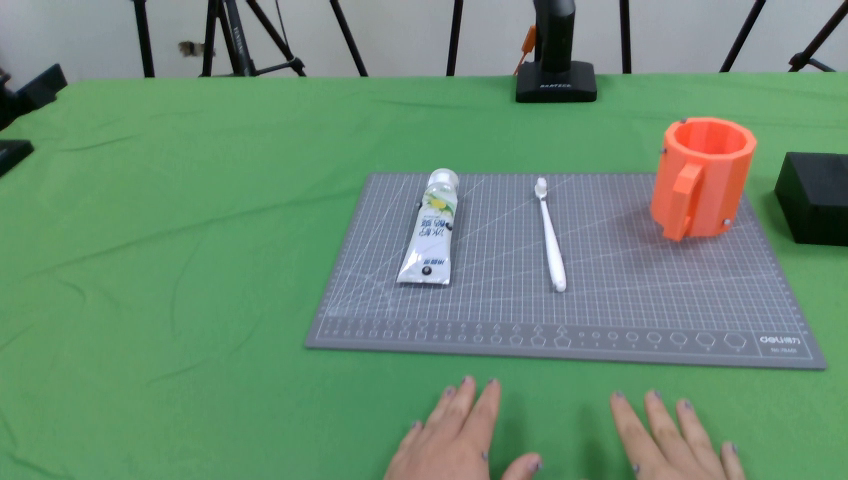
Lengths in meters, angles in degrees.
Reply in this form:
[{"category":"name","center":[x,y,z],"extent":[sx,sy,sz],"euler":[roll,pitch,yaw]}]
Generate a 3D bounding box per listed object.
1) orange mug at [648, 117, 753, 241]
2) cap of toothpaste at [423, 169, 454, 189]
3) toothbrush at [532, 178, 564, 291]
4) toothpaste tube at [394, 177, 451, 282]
[{"category":"orange mug","center":[0.278,-0.058,0.628],"extent":[0.083,0.101,0.126],"euler":[21,41,29]},{"category":"cap of toothpaste","center":[0.017,-0.068,0.718],"extent":[0.037,0.038,0.011],"euler":[4,46,11]},{"category":"toothbrush","center":[0.133,-0.012,0.653],"extent":[0.014,0.017,0.180],"euler":[7,40,-4]},{"category":"toothpaste tube","center":[0.005,-0.015,0.664],"extent":[0.055,0.035,0.163],"euler":[-3,42,11]}]
